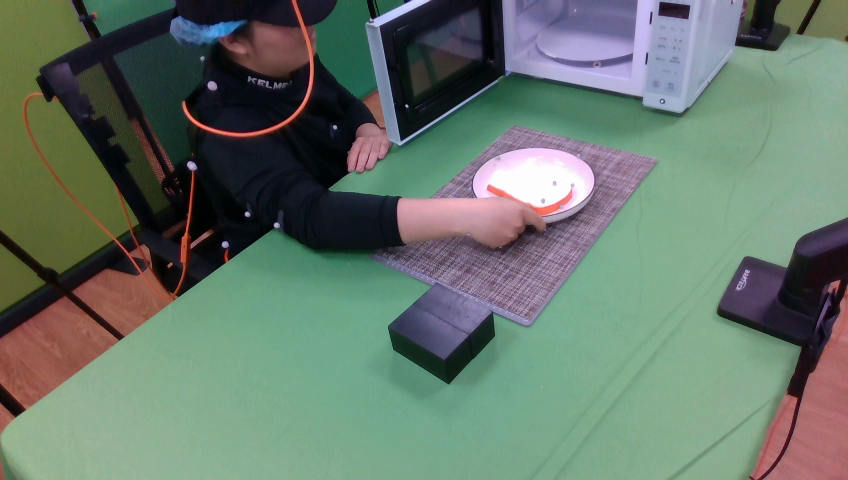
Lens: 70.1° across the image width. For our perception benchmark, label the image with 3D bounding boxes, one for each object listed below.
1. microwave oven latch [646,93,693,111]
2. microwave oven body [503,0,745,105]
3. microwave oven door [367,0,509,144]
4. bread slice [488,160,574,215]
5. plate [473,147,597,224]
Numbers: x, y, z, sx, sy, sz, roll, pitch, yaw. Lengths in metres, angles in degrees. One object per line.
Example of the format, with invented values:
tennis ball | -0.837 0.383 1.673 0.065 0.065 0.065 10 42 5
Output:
microwave oven latch | 0.477 -0.273 1.177 0.078 0.029 0.030 22 50 33
microwave oven body | 0.416 -0.486 1.290 0.438 0.261 0.327 21 50 33
microwave oven door | 0.044 -0.384 1.234 0.039 0.245 0.357 28 52 36
bread slice | 0.192 -0.091 1.041 0.105 0.019 0.130 -32 45 -24
plate | 0.190 -0.090 1.039 0.209 0.038 0.208 -5 39 5
